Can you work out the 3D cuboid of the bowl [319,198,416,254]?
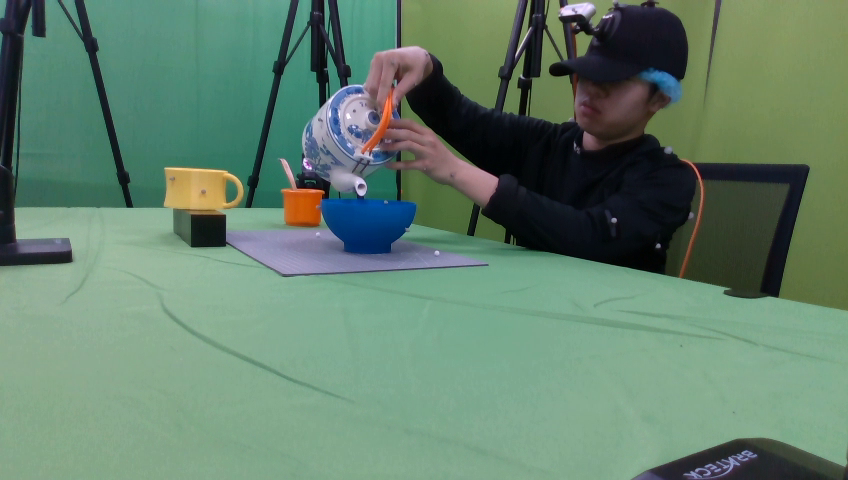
[{"bbox_3d":[-0.089,-0.022,0.941,0.151,0.077,0.151,2,8,0],"label":"bowl"}]

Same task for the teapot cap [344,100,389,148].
[{"bbox_3d":[-0.093,-0.196,1.011,0.085,0.085,0.043,-2,-7,-34],"label":"teapot cap"}]

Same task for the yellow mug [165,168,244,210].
[{"bbox_3d":[-0.370,-0.086,1.027,0.131,0.064,0.100,5,7,4],"label":"yellow mug"}]

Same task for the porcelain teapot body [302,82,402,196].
[{"bbox_3d":[-0.114,-0.161,1.037,0.146,0.205,0.224,11,-18,-29],"label":"porcelain teapot body"}]

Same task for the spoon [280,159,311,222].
[{"bbox_3d":[-0.284,-0.111,1.320,0.042,0.193,0.021,-2,-36,-32],"label":"spoon"}]
